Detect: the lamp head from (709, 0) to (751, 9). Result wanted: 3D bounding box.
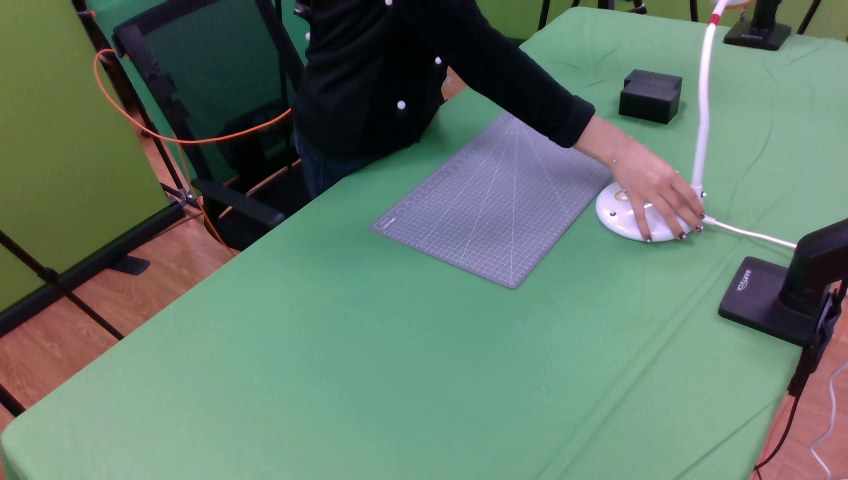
[{"bbox_3d":[0.426,-0.383,0.836,0.112,0.124,0.112,-15,41,14],"label":"lamp head"}]

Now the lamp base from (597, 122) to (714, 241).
[{"bbox_3d":[0.363,-0.109,0.921,0.178,0.181,0.160,13,45,21],"label":"lamp base"}]
